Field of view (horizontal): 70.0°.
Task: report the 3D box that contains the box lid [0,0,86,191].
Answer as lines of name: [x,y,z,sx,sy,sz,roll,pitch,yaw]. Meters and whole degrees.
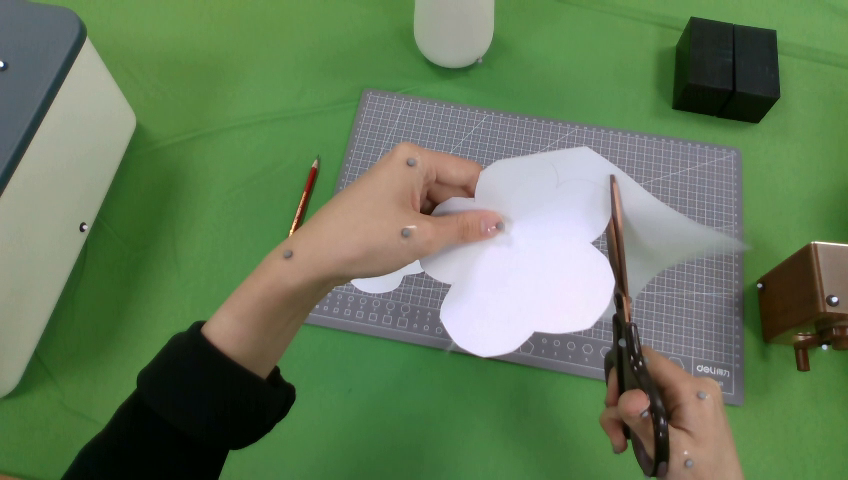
box lid: [-0.480,-0.081,0.520,0.263,0.015,0.369,10,67,4]

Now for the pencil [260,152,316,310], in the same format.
pencil: [-0.145,-0.016,0.660,0.012,0.012,0.193,11,66,5]

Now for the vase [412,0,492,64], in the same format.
vase: [0.032,-0.292,0.676,0.098,0.201,0.097,0,65,1]

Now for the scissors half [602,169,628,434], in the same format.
scissors half: [0.117,0.042,0.367,0.013,0.176,0.039,-7,24,1]

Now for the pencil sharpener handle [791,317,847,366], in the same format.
pencil sharpener handle: [0.363,0.093,0.549,0.036,0.068,0.030,12,66,-11]

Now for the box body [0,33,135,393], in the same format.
box body: [-0.479,-0.049,0.588,0.254,0.161,0.361,10,67,4]

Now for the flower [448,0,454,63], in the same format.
flower: [0.027,-0.339,0.605,0.044,0.365,0.038,3,49,5]

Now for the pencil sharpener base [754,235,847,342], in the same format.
pencil sharpener base: [0.373,0.052,0.580,0.061,0.108,0.076,6,67,3]

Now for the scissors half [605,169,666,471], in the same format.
scissors half: [0.118,0.046,0.346,0.013,0.040,0.175,-8,89,-4]
